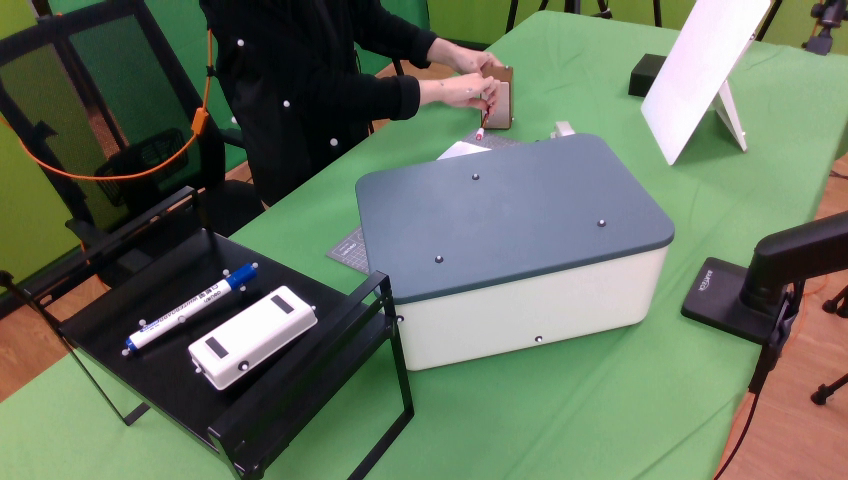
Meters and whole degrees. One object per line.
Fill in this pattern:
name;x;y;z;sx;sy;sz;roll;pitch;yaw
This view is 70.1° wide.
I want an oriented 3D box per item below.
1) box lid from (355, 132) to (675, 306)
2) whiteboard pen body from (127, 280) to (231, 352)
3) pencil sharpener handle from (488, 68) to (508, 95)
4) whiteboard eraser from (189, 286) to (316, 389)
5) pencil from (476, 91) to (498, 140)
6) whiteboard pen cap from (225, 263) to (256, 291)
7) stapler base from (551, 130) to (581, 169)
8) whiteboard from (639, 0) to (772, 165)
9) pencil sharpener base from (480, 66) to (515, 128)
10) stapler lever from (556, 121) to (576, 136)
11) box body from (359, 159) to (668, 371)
box lid;0.103;-0.042;0.785;0.372;0.015;0.261;-12;41;-5
whiteboard pen body;-0.248;0.072;0.645;0.141;0.017;0.017;-35;47;-23
pencil sharpener handle;0.152;-0.335;1.259;0.036;0.067;0.030;25;42;-8
whiteboard eraser;-0.166;0.096;0.593;0.113;0.042;0.055;-36;47;-29
pencil;0.121;-0.240;1.130;0.012;0.012;0.194;6;41;15
whiteboard pen cap;-0.204;0.041;0.668;0.033;0.018;0.018;-36;48;-22
stapler base;0.268;-0.178;1.142;0.041;0.024;0.130;0;37;3
whiteboard;0.543;-0.298;1.076;0.144;0.305;0.216;12;40;-7
pencil sharpener base;0.151;-0.291;1.229;0.061;0.107;0.076;2;41;13
stapler lever;0.266;-0.198;1.128;0.027;0.040;0.117;0;38;3
box body;0.108;0.014;0.833;0.365;0.161;0.252;-11;41;-5
